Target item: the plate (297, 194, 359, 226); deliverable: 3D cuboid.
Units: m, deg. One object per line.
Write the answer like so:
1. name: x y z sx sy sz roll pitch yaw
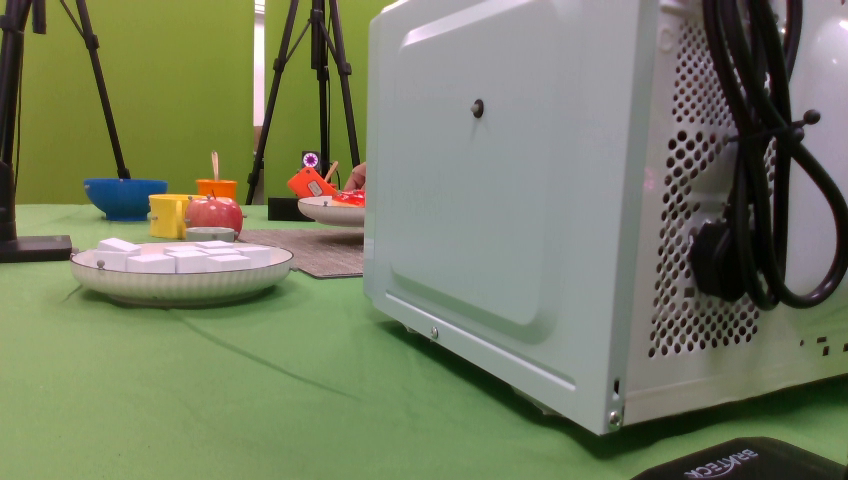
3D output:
1. plate: -0.110 -0.052 1.026 0.209 0.038 0.209 1 10 0

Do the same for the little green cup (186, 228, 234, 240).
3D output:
1. little green cup: -0.284 0.005 0.805 0.061 0.038 0.061 2 8 0

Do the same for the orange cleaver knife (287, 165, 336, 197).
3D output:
1. orange cleaver knife: -0.211 -0.093 1.382 0.212 0.077 0.012 33 1 -15

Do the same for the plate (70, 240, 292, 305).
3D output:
1. plate: -0.242 0.031 0.618 0.208 0.039 0.207 2 8 0

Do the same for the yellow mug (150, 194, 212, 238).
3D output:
1. yellow mug: -0.401 -0.039 1.003 0.100 0.064 0.130 0 9 -20

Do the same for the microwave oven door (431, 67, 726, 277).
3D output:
1. microwave oven door: 0.180 -0.092 0.777 0.354 0.243 0.039 6 9 26

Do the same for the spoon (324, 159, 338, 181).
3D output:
1. spoon: -0.257 -0.147 1.566 0.041 0.022 0.193 1 50 20

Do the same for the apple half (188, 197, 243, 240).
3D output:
1. apple half: -0.305 -0.026 0.907 0.053 0.074 0.081 12 8 31

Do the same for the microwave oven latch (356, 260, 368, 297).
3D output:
1. microwave oven latch: -0.020 0.033 0.530 0.079 0.029 0.030 -1 7 -27

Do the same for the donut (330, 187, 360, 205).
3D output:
1. donut: -0.111 -0.063 1.027 0.099 0.048 0.099 2 8 0

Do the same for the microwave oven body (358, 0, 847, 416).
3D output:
1. microwave oven body: 0.211 -0.047 0.475 0.444 0.260 0.324 -1 8 -28

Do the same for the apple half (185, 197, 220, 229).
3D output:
1. apple half: -0.338 -0.031 0.927 0.032 0.081 0.081 12 12 31

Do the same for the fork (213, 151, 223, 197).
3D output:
1. fork: -0.494 -0.143 1.442 0.028 0.018 0.206 -2 52 -20

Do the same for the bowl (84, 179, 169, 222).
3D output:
1. bowl: -0.584 -0.078 1.194 0.151 0.077 0.151 3 8 0
